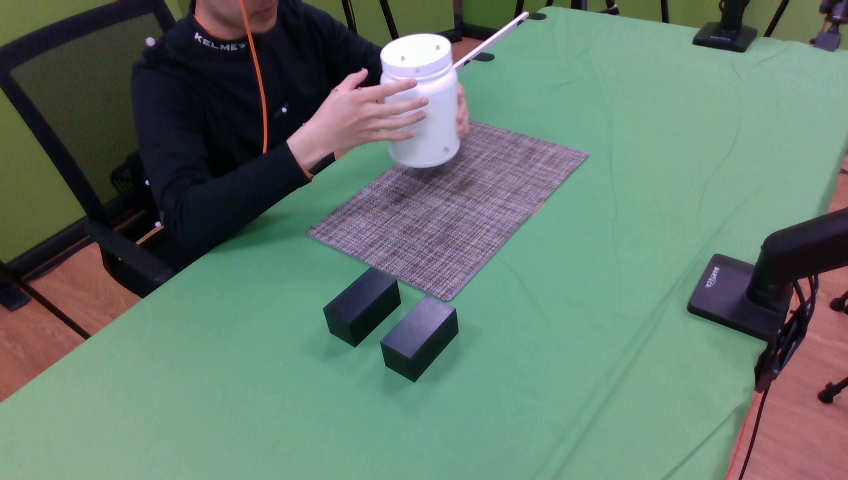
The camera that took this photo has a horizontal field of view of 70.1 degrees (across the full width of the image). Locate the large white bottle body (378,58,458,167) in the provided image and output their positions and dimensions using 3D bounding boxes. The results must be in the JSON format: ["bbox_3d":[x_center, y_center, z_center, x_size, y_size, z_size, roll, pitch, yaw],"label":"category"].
[{"bbox_3d":[-0.009,-0.234,1.041,0.130,0.185,0.130,-3,40,3],"label":"large white bottle body"}]

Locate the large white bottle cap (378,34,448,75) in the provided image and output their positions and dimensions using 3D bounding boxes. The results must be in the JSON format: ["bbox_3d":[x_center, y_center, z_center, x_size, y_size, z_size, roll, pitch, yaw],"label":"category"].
[{"bbox_3d":[-0.018,-0.302,0.983,0.115,0.018,0.114,-5,43,5],"label":"large white bottle cap"}]
